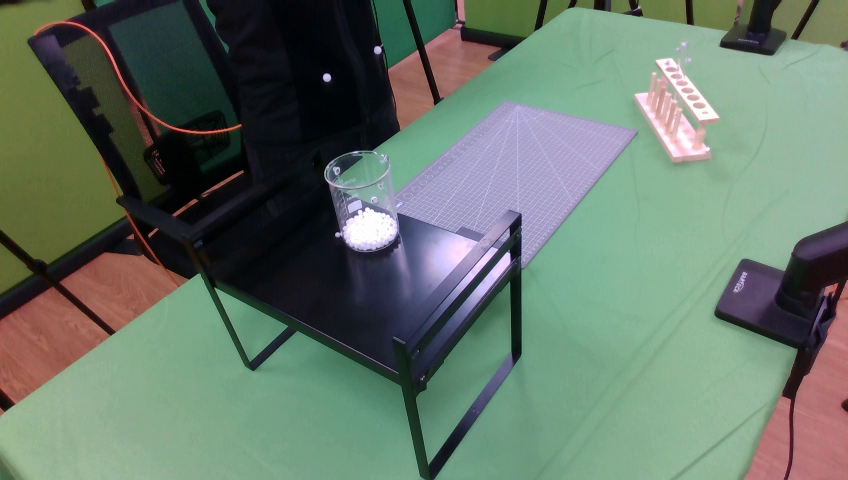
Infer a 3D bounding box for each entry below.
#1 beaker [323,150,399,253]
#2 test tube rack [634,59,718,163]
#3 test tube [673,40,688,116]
[{"bbox_3d":[-0.067,-0.043,0.699,0.073,0.101,0.084,28,51,35],"label":"beaker"},{"bbox_3d":[0.470,-0.250,1.148,0.067,0.085,0.241,-6,40,3],"label":"test tube rack"},{"bbox_3d":[0.477,-0.299,1.127,0.017,0.151,0.017,-7,40,7],"label":"test tube"}]
